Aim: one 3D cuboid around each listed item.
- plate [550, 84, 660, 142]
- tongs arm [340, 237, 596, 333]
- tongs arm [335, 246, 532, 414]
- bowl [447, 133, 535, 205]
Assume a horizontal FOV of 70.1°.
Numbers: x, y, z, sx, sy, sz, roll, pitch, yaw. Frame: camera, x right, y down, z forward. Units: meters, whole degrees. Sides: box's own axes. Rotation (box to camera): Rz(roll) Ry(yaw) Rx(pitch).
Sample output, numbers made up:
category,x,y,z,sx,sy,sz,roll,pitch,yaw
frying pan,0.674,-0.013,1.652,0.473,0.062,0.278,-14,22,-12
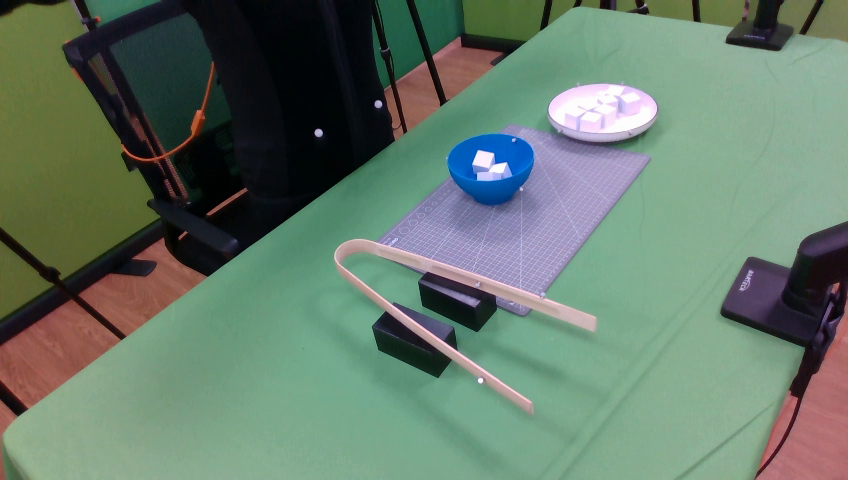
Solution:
category,x,y,z,sx,sy,sz,roll,pitch,yaw
plate,0.355,-0.246,1.195,0.207,0.039,0.206,-5,39,5
tongs arm,0.043,0.061,0.826,0.382,0.026,0.051,20,50,30
tongs arm,-0.007,0.104,0.783,0.028,0.028,0.384,-38,47,-23
bowl,0.119,-0.115,1.051,0.151,0.077,0.150,-6,40,5
